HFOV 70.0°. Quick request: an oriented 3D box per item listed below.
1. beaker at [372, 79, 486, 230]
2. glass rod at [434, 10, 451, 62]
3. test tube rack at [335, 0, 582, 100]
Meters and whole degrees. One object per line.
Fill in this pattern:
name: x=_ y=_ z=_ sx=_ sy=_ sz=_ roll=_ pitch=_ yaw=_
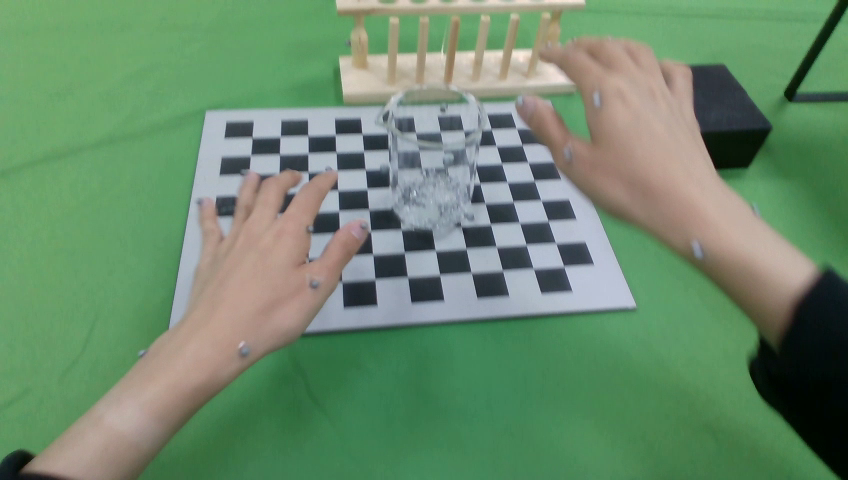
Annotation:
beaker: x=0.003 y=-0.063 z=0.478 sx=0.084 sy=0.101 sz=0.073 roll=-3 pitch=49 yaw=-5
glass rod: x=0.029 y=-0.252 z=0.566 sx=0.008 sy=0.201 sz=0.008 roll=6 pitch=51 yaw=-8
test tube rack: x=0.035 y=-0.201 z=0.611 sx=0.243 sy=0.086 sz=0.066 roll=-4 pitch=50 yaw=-8
